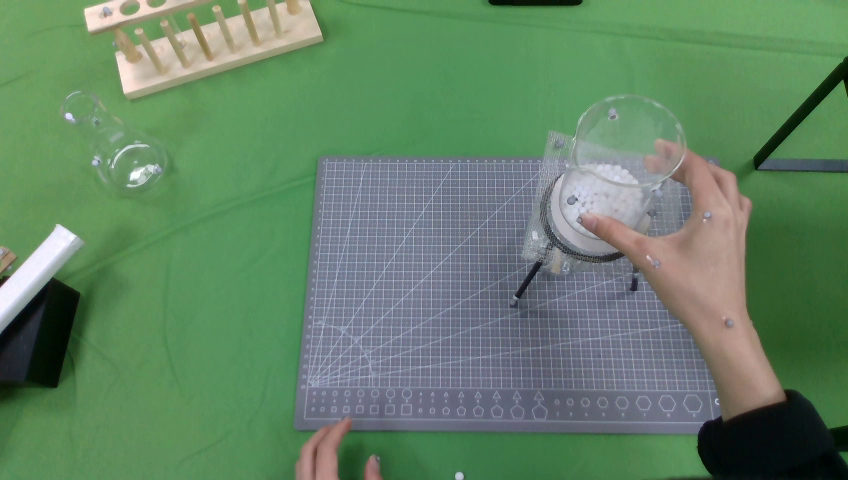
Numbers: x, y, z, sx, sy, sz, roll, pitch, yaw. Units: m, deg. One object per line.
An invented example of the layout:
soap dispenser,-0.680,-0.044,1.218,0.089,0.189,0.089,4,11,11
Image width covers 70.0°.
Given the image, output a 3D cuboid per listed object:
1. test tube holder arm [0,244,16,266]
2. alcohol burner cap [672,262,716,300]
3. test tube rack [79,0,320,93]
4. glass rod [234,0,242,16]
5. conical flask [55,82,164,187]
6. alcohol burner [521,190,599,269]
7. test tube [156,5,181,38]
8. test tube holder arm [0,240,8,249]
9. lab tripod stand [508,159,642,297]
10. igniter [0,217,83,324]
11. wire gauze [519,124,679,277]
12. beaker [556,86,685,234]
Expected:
test tube holder arm,-0.427,0.040,0.577,0.010,0.015,0.087,43,73,-16
alcohol burner cap,0.273,0.038,0.606,0.034,0.048,0.033,0,69,1
test tube rack,-0.253,-0.258,0.705,0.242,0.086,0.066,-20,70,-7
glass rod,-0.230,-0.315,0.656,0.008,0.201,0.008,-3,62,6
conical flask,-0.331,-0.113,0.631,0.075,0.122,0.075,0,68,1
alcohol burner,0.136,-0.016,0.591,0.078,0.120,0.077,0,67,-1
test tube,-0.298,-0.280,0.661,0.017,0.151,0.017,0,62,0
test tube holder arm,-0.458,0.070,0.563,0.013,0.015,0.178,43,74,-16
lab tripod stand,0.146,-0.006,0.576,0.148,0.132,0.147,0,68,-1
igniter,-0.425,0.093,0.555,0.057,0.025,0.276,28,71,21
wire gauze,0.152,-0.036,0.515,0.121,0.011,0.124,13,70,4
beaker,0.138,-0.053,0.455,0.084,0.101,0.073,-21,67,-5
